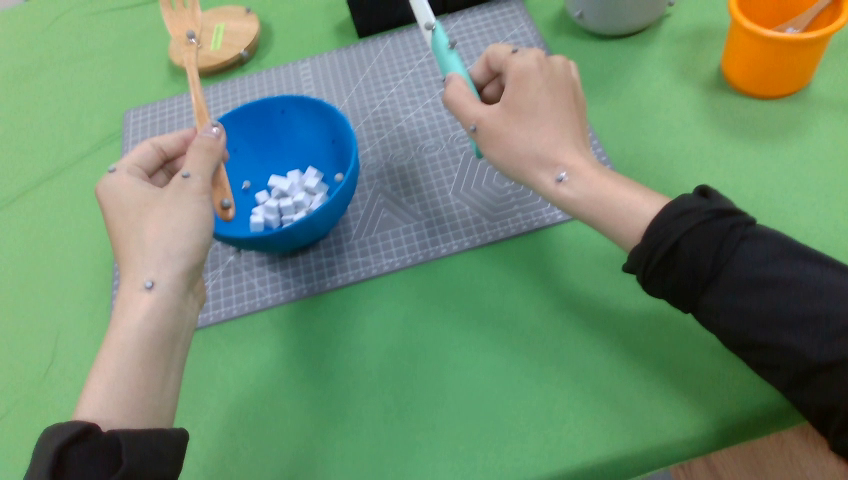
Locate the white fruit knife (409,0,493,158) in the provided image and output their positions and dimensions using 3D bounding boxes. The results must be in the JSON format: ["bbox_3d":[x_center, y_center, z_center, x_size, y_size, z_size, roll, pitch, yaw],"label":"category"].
[{"bbox_3d":[0.009,-0.157,0.471,0.016,0.027,0.206,-12,68,-27],"label":"white fruit knife"}]

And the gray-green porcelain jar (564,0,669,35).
[{"bbox_3d":[0.186,-0.271,0.574,0.106,0.128,0.105,-6,57,9],"label":"gray-green porcelain jar"}]

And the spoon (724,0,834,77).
[{"bbox_3d":[0.333,-0.198,0.484,0.022,0.194,0.041,13,54,-34],"label":"spoon"}]

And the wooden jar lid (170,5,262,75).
[{"bbox_3d":[-0.236,-0.229,0.696,0.108,0.021,0.107,-4,57,7],"label":"wooden jar lid"}]

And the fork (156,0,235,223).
[{"bbox_3d":[-0.160,-0.107,0.427,0.028,0.019,0.206,-13,72,-18],"label":"fork"}]

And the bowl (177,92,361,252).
[{"bbox_3d":[-0.119,-0.044,0.514,0.151,0.077,0.150,-5,57,9],"label":"bowl"}]
